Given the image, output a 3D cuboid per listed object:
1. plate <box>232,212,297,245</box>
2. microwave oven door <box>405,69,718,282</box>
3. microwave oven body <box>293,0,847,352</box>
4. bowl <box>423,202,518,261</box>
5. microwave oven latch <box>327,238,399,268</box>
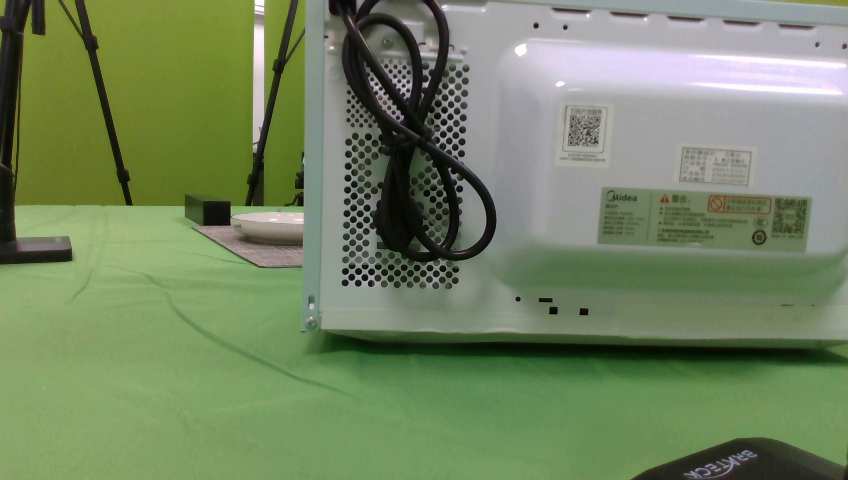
[{"bbox_3d":[-0.214,-0.019,1.018,0.208,0.039,0.207,2,7,0],"label":"plate"},{"bbox_3d":[0.158,-0.083,0.741,0.355,0.243,0.039,4,8,10],"label":"microwave oven door"},{"bbox_3d":[0.122,-0.055,0.550,0.442,0.260,0.325,3,7,-5],"label":"microwave oven body"},{"bbox_3d":[0.070,-0.012,0.961,0.151,0.077,0.151,5,9,-1],"label":"bowl"},{"bbox_3d":[-0.069,0.015,0.694,0.079,0.029,0.030,3,7,-3],"label":"microwave oven latch"}]
